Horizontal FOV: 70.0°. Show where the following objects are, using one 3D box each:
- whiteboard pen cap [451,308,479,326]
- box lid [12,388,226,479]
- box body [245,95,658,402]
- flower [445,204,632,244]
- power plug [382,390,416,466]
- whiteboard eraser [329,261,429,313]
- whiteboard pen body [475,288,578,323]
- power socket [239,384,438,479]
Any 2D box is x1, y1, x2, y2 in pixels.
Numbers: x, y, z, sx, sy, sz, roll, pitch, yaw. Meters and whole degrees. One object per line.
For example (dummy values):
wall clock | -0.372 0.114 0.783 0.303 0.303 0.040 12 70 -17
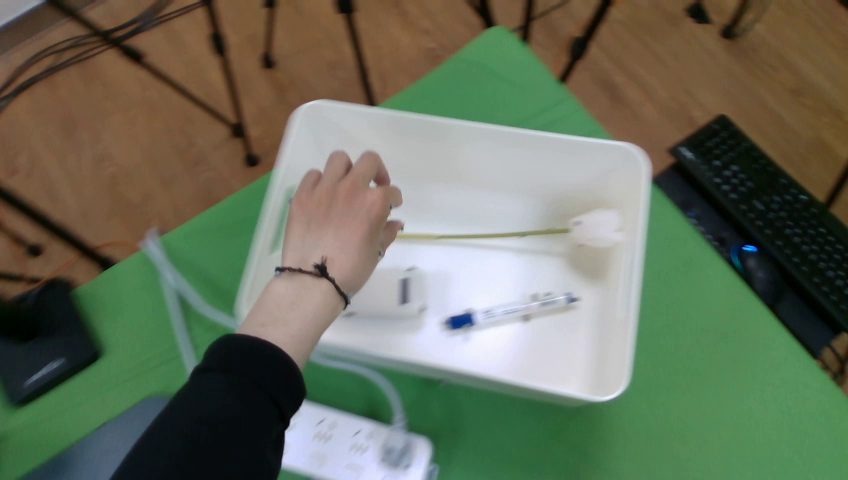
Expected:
whiteboard pen cap | 0.048 0.087 0.696 0.033 0.018 0.018 -12 70 2
box lid | -0.374 0.359 0.650 0.371 0.015 0.261 -33 71 -6
box body | 0.035 0.017 0.653 0.363 0.161 0.253 10 72 9
flower | 0.063 -0.007 0.728 0.360 0.038 0.043 -4 60 23
power plug | -0.018 0.201 0.637 0.035 0.053 0.072 23 70 15
whiteboard eraser | -0.051 0.055 0.702 0.112 0.042 0.055 2 72 3
whiteboard pen body | 0.106 0.077 0.694 0.141 0.017 0.017 -14 70 2
power socket | -0.096 0.219 0.663 0.226 0.033 0.072 14 72 11
